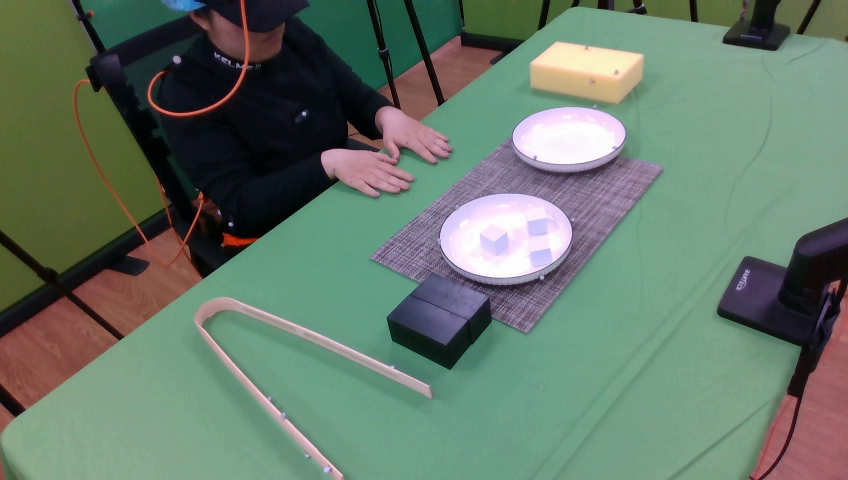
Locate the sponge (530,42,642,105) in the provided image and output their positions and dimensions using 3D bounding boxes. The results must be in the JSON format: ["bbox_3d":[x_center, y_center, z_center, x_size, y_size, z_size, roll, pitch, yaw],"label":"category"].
[{"bbox_3d":[0.350,-0.365,1.317,0.205,0.061,0.118,21,50,31],"label":"sponge"}]

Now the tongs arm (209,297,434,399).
[{"bbox_3d":[-0.153,0.143,0.837,0.385,0.028,0.028,16,49,28],"label":"tongs arm"}]

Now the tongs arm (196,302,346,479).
[{"bbox_3d":[-0.206,0.185,0.791,0.381,0.026,0.051,28,51,37],"label":"tongs arm"}]

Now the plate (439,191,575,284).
[{"bbox_3d":[0.129,-0.002,0.942,0.207,0.039,0.206,-5,40,5],"label":"plate"}]

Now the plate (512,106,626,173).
[{"bbox_3d":[0.269,-0.185,1.132,0.209,0.038,0.208,-5,40,5],"label":"plate"}]
